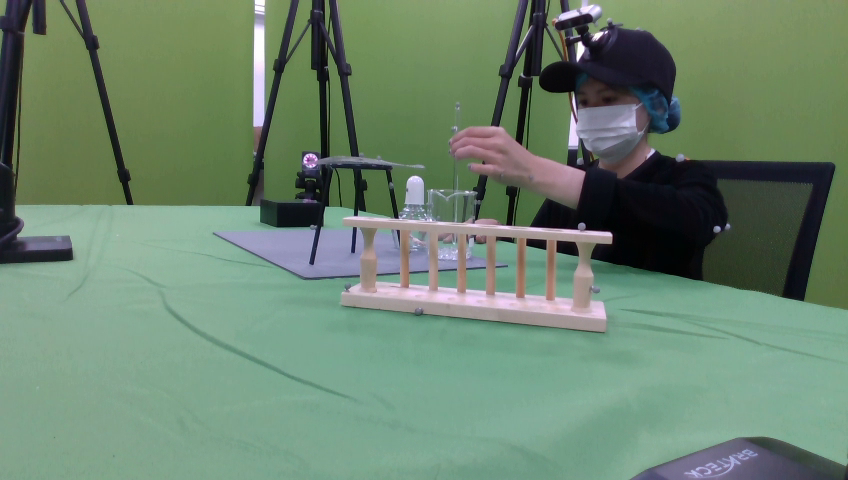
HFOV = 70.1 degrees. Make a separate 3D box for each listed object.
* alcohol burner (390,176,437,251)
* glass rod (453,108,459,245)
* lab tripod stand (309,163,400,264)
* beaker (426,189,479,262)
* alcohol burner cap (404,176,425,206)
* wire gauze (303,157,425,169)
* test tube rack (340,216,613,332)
[{"bbox_3d":[-0.016,-0.042,0.955,0.078,0.119,0.078,4,6,0],"label":"alcohol burner"},{"bbox_3d":[0.046,-0.088,0.871,0.008,0.199,0.008,0,17,0],"label":"glass rod"},{"bbox_3d":[-0.091,-0.037,0.813,0.148,0.131,0.148,1,6,0],"label":"lab tripod stand"},{"bbox_3d":[0.039,-0.022,0.871,0.074,0.100,0.084,4,8,12],"label":"beaker"},{"bbox_3d":[-0.015,-0.077,0.951,0.034,0.048,0.034,2,4,0],"label":"alcohol burner cap"},{"bbox_3d":[-0.082,-0.102,0.799,0.126,0.011,0.121,-1,7,-30],"label":"wire gauze"},{"bbox_3d":[0.048,0.026,0.568,0.242,0.085,0.067,4,7,13],"label":"test tube rack"}]
